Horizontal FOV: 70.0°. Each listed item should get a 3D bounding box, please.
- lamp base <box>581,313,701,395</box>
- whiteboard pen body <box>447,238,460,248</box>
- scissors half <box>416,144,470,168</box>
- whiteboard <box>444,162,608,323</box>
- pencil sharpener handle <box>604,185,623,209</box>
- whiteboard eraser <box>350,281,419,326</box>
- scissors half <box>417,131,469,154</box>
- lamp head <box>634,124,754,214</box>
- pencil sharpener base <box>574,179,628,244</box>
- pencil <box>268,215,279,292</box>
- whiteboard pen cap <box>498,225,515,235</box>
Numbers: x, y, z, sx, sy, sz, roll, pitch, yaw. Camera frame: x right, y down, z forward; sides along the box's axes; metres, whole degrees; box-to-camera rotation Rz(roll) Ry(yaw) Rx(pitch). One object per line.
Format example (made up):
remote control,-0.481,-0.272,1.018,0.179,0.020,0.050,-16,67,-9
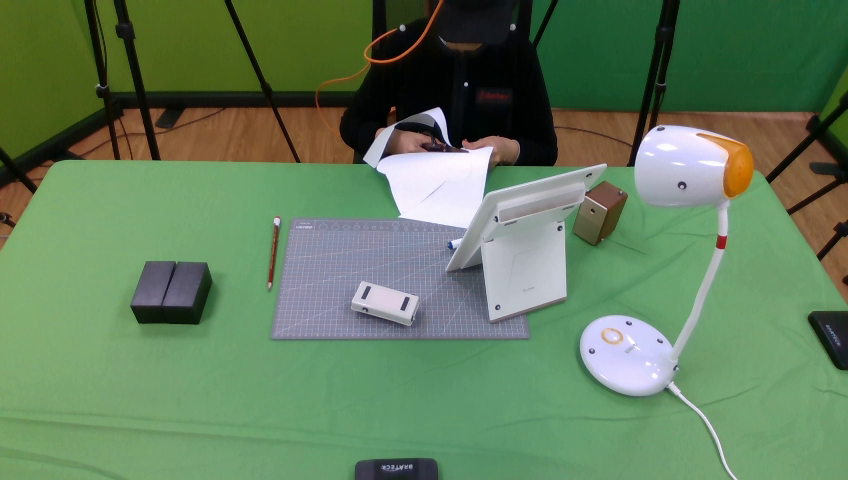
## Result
lamp base,0.361,0.144,0.972,0.178,0.181,0.160,34,53,23
whiteboard pen body,0.112,-0.006,1.203,0.141,0.017,0.017,-14,49,-18
scissors half,0.040,-0.192,1.358,0.013,0.175,0.040,0,83,-40
whiteboard,0.186,0.025,1.029,0.217,0.306,0.143,-14,68,-18
pencil sharpener handle,0.390,-0.091,1.235,0.030,0.068,0.036,-33,69,-31
whiteboard eraser,-0.069,0.113,1.065,0.112,0.042,0.055,14,46,9
scissors half,0.041,-0.214,1.356,0.013,0.040,0.174,-7,23,-40
lamp head,0.351,-0.089,0.775,0.112,0.113,0.122,-30,30,-28
pencil sharpener base,0.355,-0.057,1.217,0.076,0.107,0.061,-33,56,-31
pencil,-0.290,0.022,1.164,0.012,0.012,0.192,-2,48,-6
whiteboard pen cap,0.166,-0.019,1.222,0.033,0.018,0.018,-14,49,-19
